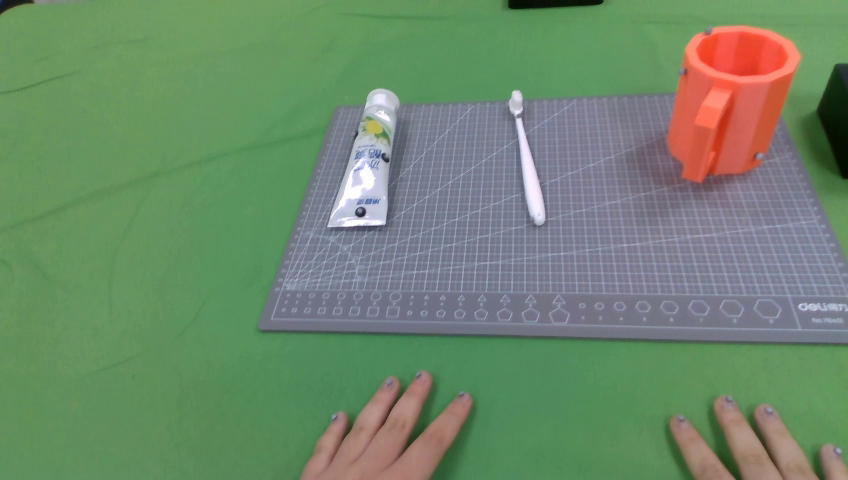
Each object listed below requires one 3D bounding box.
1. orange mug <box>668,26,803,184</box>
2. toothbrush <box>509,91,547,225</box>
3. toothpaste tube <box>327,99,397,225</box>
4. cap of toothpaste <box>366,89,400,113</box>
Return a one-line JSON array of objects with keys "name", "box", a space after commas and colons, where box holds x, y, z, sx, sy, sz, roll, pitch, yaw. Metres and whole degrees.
[{"name": "orange mug", "box": [0.253, -0.109, 0.514, 0.083, 0.102, 0.126, 23, 51, 28]}, {"name": "toothbrush", "box": [0.098, -0.083, 0.571, 0.014, 0.017, 0.180, 5, 48, -8]}, {"name": "toothpaste tube", "box": [-0.053, -0.079, 0.586, 0.055, 0.035, 0.163, -4, 51, 14]}, {"name": "cap of toothpaste", "box": [-0.043, -0.141, 0.632, 0.037, 0.038, 0.011, 0, 52, 9]}]
